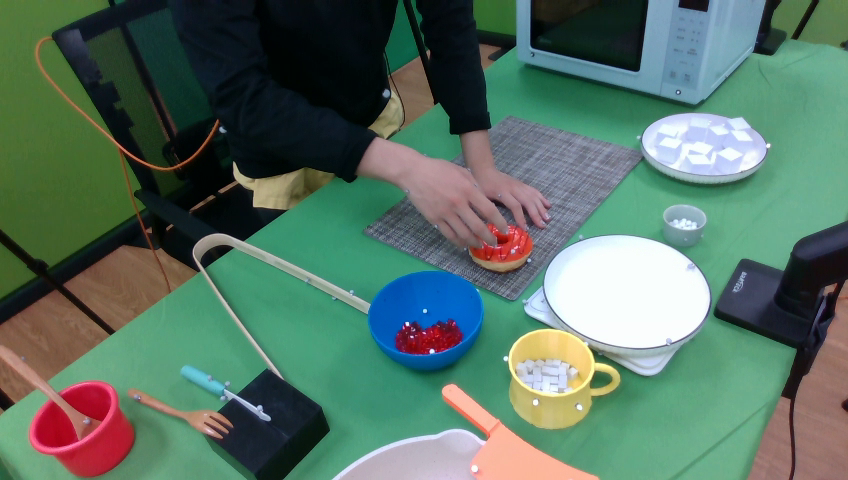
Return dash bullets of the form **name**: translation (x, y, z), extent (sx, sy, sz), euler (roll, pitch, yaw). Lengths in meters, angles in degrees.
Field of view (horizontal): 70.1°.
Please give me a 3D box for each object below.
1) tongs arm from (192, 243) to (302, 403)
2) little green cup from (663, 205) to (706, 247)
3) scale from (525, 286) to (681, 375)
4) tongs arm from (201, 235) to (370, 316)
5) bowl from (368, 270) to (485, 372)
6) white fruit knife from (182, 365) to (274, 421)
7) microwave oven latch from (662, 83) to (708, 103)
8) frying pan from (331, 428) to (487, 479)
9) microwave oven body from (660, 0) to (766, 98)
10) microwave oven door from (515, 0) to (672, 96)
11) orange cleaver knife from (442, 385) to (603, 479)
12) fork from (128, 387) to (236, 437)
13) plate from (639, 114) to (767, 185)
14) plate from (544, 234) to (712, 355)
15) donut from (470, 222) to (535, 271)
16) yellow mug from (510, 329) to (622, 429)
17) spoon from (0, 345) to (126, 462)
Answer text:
- **tongs arm**: translation (-0.268, 0.108, 0.883), extent (0.028, 0.028, 0.384), euler (-35, 46, -18)
- **little green cup**: translation (0.396, -0.020, 0.926), extent (0.061, 0.039, 0.061), euler (-4, 40, 4)
- **scale**: translation (0.254, 0.091, 0.821), extent (0.199, 0.032, 0.149), euler (27, 51, 35)
- **tongs arm**: translation (-0.209, 0.062, 0.924), extent (0.381, 0.026, 0.051), euler (23, 53, 33)
- **bowl**: translation (0.007, 0.119, 0.791), extent (0.151, 0.077, 0.150), euler (-5, 39, 4)
- **white fruit knife**: translation (-0.245, 0.188, 0.747), extent (0.205, 0.027, 0.016), euler (9, 41, 41)
- **microwave oven latch**: translation (0.517, -0.296, 1.204), extent (0.078, 0.029, 0.030), euler (28, 52, 35)
- **frying pan**: translation (-0.089, 0.306, 0.564), extent (0.487, 0.103, 0.306), euler (10, 41, 7)
- **microwave oven body**: translation (0.472, -0.513, 1.317), extent (0.438, 0.261, 0.327), euler (26, 51, 34)
- **microwave oven door**: translation (0.343, -0.454, 1.259), extent (0.353, 0.245, 0.039), euler (26, 51, 33)
- **orange cleaver knife**: translation (0.086, 0.219, 0.612), extent (0.209, 0.012, 0.077), euler (28, 49, 35)
- **fork**: translation (-0.305, 0.207, 0.744), extent (0.206, 0.019, 0.028), euler (3, 41, 36)
- **plate**: translation (0.489, -0.157, 1.074), extent (0.207, 0.039, 0.206), euler (-4, 40, 4)
- **plate**: translation (0.262, 0.072, 0.792), extent (0.209, 0.038, 0.208), euler (-4, 41, 4)
- **donut**: translation (0.119, 0.009, 0.923), extent (0.099, 0.048, 0.098), euler (-4, 38, 3)
- **yellow mug**: translation (0.168, 0.164, 0.721), extent (0.130, 0.064, 0.099), euler (0, 40, 8)
- **spoon**: translation (-0.434, 0.192, 0.720), extent (0.194, 0.021, 0.042), euler (47, 53, -7)
